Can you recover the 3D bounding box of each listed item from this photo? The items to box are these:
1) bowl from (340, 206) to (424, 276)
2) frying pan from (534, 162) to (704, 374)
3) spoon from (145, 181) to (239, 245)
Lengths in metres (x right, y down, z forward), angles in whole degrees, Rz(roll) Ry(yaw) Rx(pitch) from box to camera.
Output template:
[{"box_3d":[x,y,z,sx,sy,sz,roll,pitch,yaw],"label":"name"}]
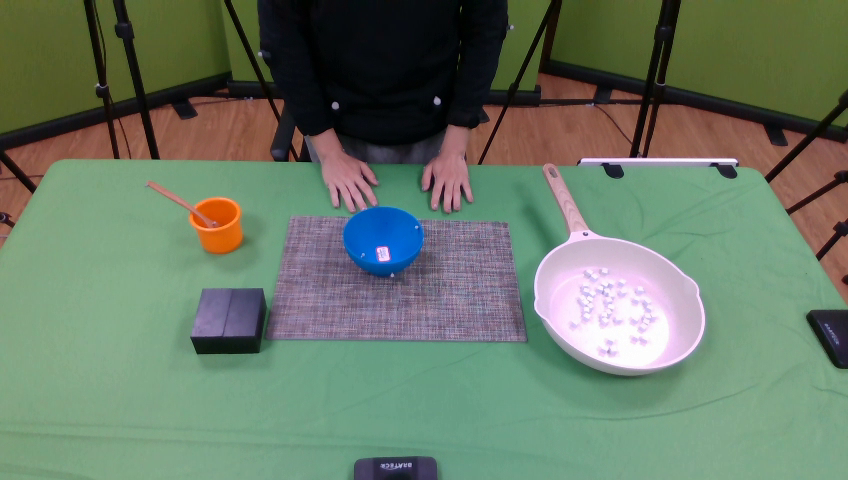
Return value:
[{"box_3d":[-0.079,0.014,1.133,0.151,0.077,0.150,2,46,-2],"label":"bowl"},{"box_3d":[0.314,0.034,1.133,0.307,0.103,0.484,-7,56,-12],"label":"frying pan"},{"box_3d":[-0.429,-0.052,1.126,0.021,0.195,0.041,-27,34,33],"label":"spoon"}]
